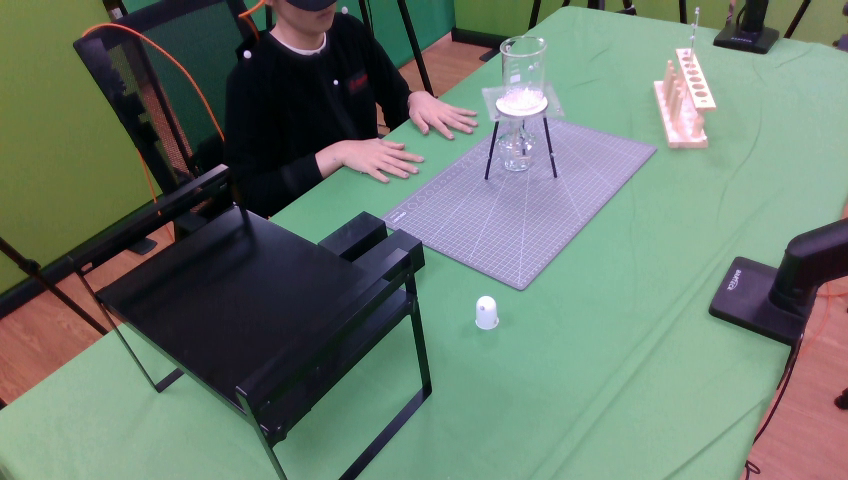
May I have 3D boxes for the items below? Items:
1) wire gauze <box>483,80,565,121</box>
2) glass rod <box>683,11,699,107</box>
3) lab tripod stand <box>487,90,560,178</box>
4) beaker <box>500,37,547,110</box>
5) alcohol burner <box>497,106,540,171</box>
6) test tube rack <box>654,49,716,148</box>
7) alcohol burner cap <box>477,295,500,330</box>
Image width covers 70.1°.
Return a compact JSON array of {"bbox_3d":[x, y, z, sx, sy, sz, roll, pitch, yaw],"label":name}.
[{"bbox_3d":[0.168,-0.237,1.035,0.125,0.011,0.121,-7,39,4],"label":"wire gauze"},{"bbox_3d":[0.501,-0.335,1.138,0.008,0.201,0.008,-7,44,7],"label":"glass rod"},{"bbox_3d":[0.175,-0.185,1.074,0.148,0.132,0.147,-5,42,5],"label":"lab tripod stand"},{"bbox_3d":[0.169,-0.276,1.004,0.084,0.101,0.073,-26,45,-18],"label":"beaker"},{"bbox_3d":[0.170,-0.187,1.092,0.078,0.119,0.077,-6,41,6],"label":"alcohol burner"},{"bbox_3d":[0.502,-0.281,1.176,0.066,0.085,0.241,1,41,11],"label":"test tube rack"},{"bbox_3d":[0.089,0.097,0.834,0.034,0.048,0.033,-4,42,4],"label":"alcohol burner cap"}]
